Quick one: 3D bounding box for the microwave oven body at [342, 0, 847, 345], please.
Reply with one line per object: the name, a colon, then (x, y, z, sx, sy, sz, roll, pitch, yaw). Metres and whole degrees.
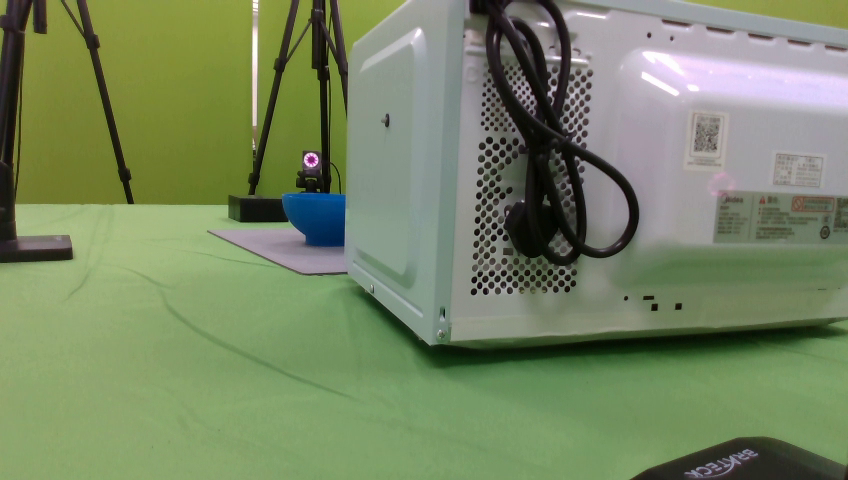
microwave oven body: (0.169, -0.060, 0.573, 0.444, 0.260, 0.324, 1, 7, -20)

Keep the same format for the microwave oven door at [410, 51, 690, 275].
microwave oven door: (0.161, -0.084, 0.723, 0.357, 0.243, 0.039, 0, 8, -20)

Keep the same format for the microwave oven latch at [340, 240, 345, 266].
microwave oven latch: (-0.052, 0.016, 0.662, 0.079, 0.029, 0.030, 1, 7, -19)

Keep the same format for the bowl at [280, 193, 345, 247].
bowl: (-0.153, -0.032, 0.970, 0.151, 0.077, 0.151, 3, 7, 0)
